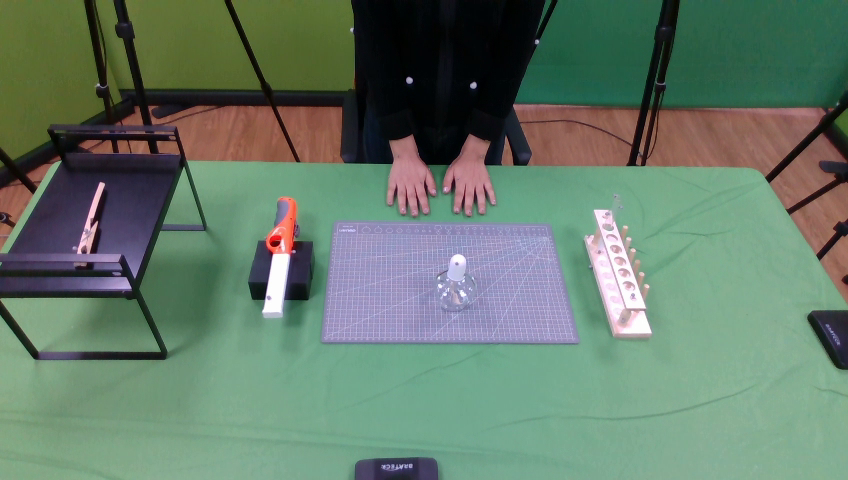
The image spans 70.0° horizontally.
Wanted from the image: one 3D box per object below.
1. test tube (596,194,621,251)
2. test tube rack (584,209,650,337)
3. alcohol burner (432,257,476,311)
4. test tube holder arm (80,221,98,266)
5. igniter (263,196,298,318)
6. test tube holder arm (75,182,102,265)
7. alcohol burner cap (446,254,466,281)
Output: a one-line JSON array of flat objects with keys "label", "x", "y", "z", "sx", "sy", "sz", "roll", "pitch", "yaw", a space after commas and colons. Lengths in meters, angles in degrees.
[{"label": "test tube", "x": 0.346, "y": -0.029, "z": 1.141, "sx": 0.017, "sy": 0.151, "sz": 0.017, "roll": 0, "pitch": 50, "yaw": 0}, {"label": "test tube rack", "x": 0.365, "y": 0.056, "z": 1.129, "sx": 0.067, "sy": 0.085, "sz": 0.240, "roll": 1, "pitch": 46, "yaw": -4}, {"label": "alcohol burner", "x": 0.055, "y": 0.070, "z": 1.068, "sx": 0.078, "sy": 0.119, "sz": 0.077, "roll": 3, "pitch": 45, "yaw": -3}, {"label": "test tube holder arm", "x": -0.503, "y": 0.004, "z": 0.910, "sx": 0.010, "sy": 0.015, "sz": 0.087, "roll": 26, "pitch": 32, "yaw": -36}, {"label": "igniter", "x": -0.259, "y": 0.020, "z": 1.089, "sx": 0.057, "sy": 0.025, "sz": 0.274, "roll": -2, "pitch": 49, "yaw": -3}, {"label": "test tube holder arm", "x": -0.518, "y": -0.030, "z": 0.937, "sx": 0.013, "sy": 0.015, "sz": 0.177, "roll": 25, "pitch": 33, "yaw": -37}, {"label": "alcohol burner cap", "x": 0.058, "y": 0.045, "z": 1.043, "sx": 0.034, "sy": 0.048, "sz": 0.033, "roll": 4, "pitch": 45, "yaw": -4}]
